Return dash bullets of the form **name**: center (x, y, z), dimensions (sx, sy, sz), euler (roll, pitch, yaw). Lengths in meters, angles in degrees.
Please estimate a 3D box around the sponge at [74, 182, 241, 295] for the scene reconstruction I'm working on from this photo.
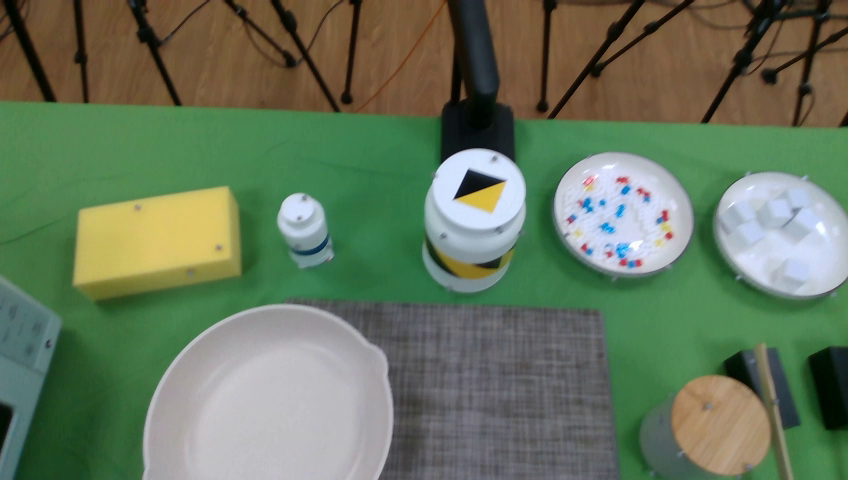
- **sponge**: center (-0.373, -0.003, 0.860), dimensions (0.207, 0.061, 0.117), euler (-10, 65, -7)

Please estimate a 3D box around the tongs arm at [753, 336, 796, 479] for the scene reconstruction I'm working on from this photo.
- **tongs arm**: center (0.458, 0.305, 0.720), dimensions (0.051, 0.026, 0.382), euler (-2, 75, -5)

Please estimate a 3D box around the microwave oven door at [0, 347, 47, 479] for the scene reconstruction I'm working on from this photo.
- **microwave oven door**: center (-0.508, 0.271, 0.605), dimensions (0.039, 0.245, 0.353), euler (2, 64, 0)

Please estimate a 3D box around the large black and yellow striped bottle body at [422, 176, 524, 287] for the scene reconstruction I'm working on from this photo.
- **large black and yellow striped bottle body**: center (0.063, -0.028, 0.818), dimensions (0.131, 0.185, 0.129), euler (1, 64, -1)

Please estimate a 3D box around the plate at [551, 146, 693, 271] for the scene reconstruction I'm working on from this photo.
- **plate**: center (0.294, -0.046, 0.914), dimensions (0.209, 0.038, 0.207), euler (0, 65, -1)

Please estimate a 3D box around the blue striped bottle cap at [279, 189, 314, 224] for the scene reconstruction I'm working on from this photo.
- **blue striped bottle cap**: center (-0.168, -0.045, 0.796), dimensions (0.044, 0.021, 0.044), euler (2, 64, -3)

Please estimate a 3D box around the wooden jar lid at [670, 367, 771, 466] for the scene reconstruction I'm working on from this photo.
- **wooden jar lid**: center (0.330, 0.197, 0.679), dimensions (0.108, 0.021, 0.107), euler (-1, 67, 2)

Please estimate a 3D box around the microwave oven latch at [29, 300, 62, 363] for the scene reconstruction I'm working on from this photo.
- **microwave oven latch**: center (-0.500, 0.119, 0.790), dimensions (0.030, 0.030, 0.078), euler (5, 65, 0)

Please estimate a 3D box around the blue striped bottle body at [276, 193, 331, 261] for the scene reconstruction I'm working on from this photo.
- **blue striped bottle body**: center (-0.168, -0.022, 0.843), dimensions (0.063, 0.121, 0.062), euler (1, 64, -1)

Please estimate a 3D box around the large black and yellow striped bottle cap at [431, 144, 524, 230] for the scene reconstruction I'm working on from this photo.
- **large black and yellow striped bottle cap**: center (0.065, -0.066, 0.742), dimensions (0.115, 0.019, 0.114), euler (1, 66, -1)

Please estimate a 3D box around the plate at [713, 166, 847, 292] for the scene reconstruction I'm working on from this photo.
- **plate**: center (0.534, -0.015, 0.905), dimensions (0.208, 0.039, 0.206), euler (1, 64, -1)

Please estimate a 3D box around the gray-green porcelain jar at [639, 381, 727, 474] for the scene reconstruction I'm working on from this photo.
- **gray-green porcelain jar**: center (0.328, 0.226, 0.736), dimensions (0.106, 0.127, 0.105), euler (1, 64, -1)

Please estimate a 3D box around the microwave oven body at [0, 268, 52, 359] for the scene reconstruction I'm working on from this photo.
- **microwave oven body**: center (-0.652, 0.230, 0.626), dimensions (0.326, 0.262, 0.438), euler (2, 65, -1)

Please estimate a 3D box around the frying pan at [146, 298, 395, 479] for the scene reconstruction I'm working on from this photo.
- **frying pan**: center (-0.130, 0.293, 0.699), dimensions (0.307, 0.103, 0.483), euler (-27, 60, -13)
